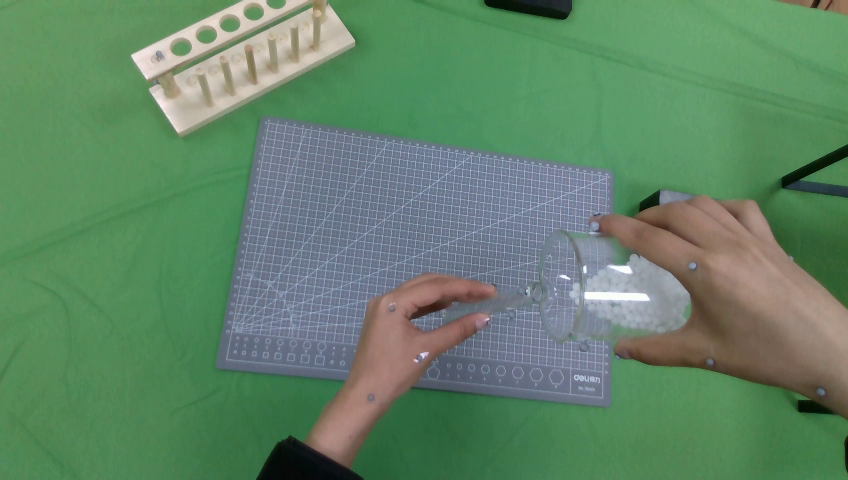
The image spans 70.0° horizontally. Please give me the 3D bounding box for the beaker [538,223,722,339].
[{"bbox_3d":[0.133,0.030,0.404,0.100,0.084,0.073,2,79,-10],"label":"beaker"}]

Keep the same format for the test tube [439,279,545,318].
[{"bbox_3d":[0.050,0.050,0.498,0.017,0.150,0.017,6,76,-25],"label":"test tube"}]

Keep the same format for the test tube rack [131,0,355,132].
[{"bbox_3d":[-0.197,-0.225,0.700,0.242,0.085,0.066,-33,83,-16],"label":"test tube rack"}]
